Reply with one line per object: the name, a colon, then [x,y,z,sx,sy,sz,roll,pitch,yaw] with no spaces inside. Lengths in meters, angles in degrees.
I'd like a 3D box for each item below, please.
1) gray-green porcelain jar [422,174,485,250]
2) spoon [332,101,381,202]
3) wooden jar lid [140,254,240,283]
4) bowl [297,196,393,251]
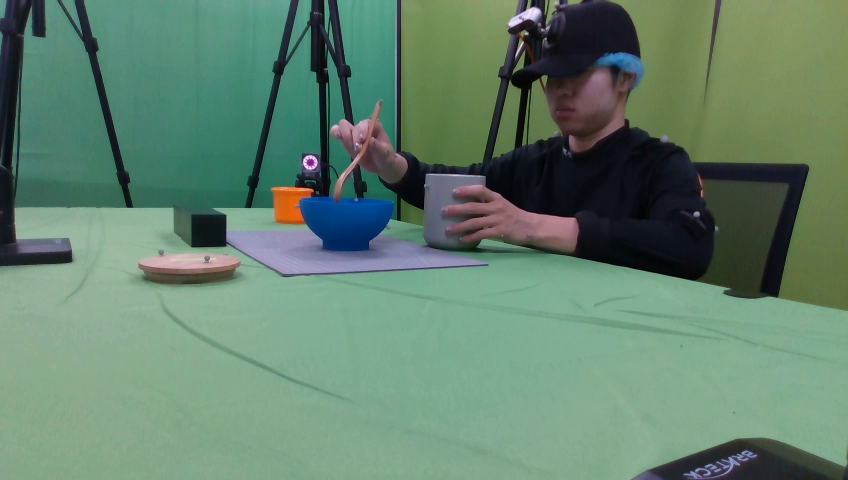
gray-green porcelain jar: [0.050,-0.049,1.040,0.106,0.126,0.106,2,8,0]
spoon: [-0.107,-0.140,0.976,0.021,0.193,0.041,26,-14,-4]
wooden jar lid: [-0.269,0.032,0.698,0.108,0.020,0.108,2,5,0]
bowl: [-0.125,-0.026,0.958,0.151,0.077,0.151,2,7,0]
